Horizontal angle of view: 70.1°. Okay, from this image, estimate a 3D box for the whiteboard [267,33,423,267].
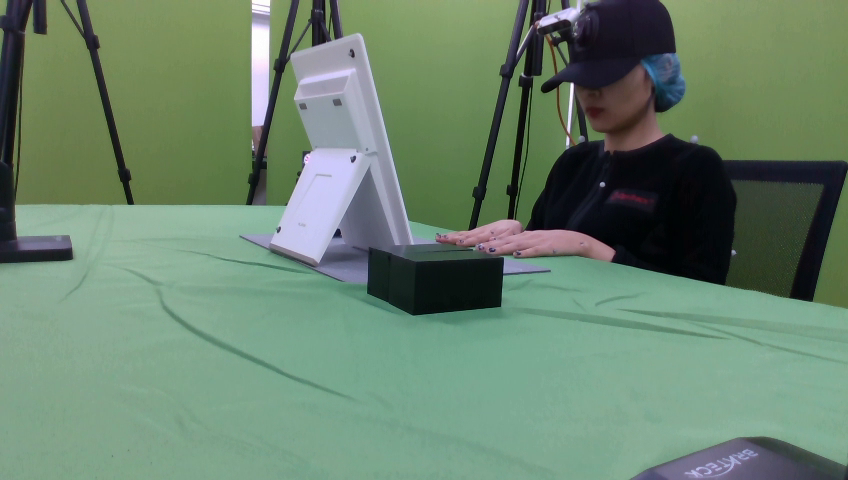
[{"bbox_3d":[-0.153,-0.097,0.818,0.144,0.305,0.216,-24,20,-28],"label":"whiteboard"}]

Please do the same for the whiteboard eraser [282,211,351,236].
[{"bbox_3d":[-0.189,-0.029,1.066,0.113,0.042,0.055,-2,8,-29],"label":"whiteboard eraser"}]
